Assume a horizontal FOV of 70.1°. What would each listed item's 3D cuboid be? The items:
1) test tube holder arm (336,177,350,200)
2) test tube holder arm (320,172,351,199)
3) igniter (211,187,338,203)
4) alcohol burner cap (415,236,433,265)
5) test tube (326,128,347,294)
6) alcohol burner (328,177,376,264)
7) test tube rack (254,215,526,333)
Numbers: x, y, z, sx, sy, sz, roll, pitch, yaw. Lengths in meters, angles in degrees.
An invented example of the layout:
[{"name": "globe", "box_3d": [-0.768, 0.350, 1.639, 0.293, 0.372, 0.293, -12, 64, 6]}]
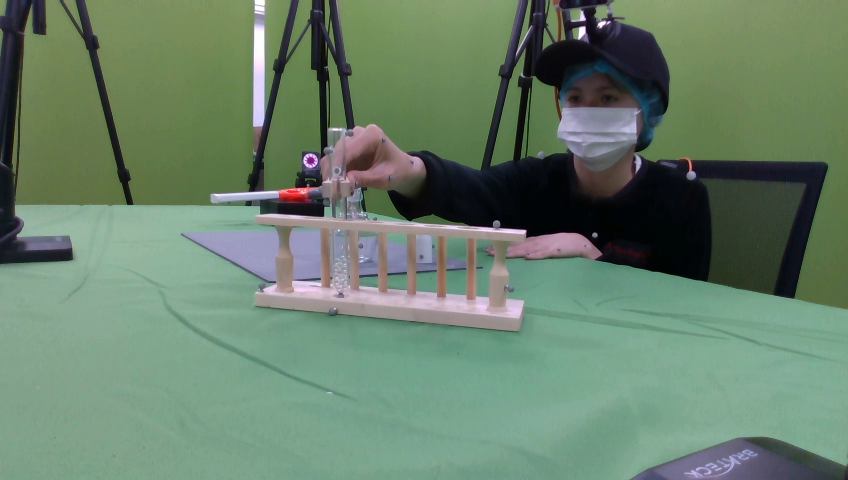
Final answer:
[{"name": "test tube holder arm", "box_3d": [-0.077, -0.049, 0.564, 0.010, 0.015, 0.087, 3, 10, -11]}, {"name": "test tube holder arm", "box_3d": [-0.086, -0.057, 0.607, 0.013, 0.015, 0.178, 5, 9, -3]}, {"name": "igniter", "box_3d": [-0.299, -0.094, 1.266, 0.278, 0.025, 0.057, -6, 12, -34]}, {"name": "alcohol burner cap", "box_3d": [-0.003, 0.011, 0.835, 0.034, 0.048, 0.034, 2, 7, 0]}, {"name": "test tube", "box_3d": [-0.079, -0.025, 0.544, 0.017, 0.150, 0.017, 0, 9, 0]}, {"name": "alcohol burner", "box_3d": [-0.098, -0.028, 0.819, 0.078, 0.119, 0.078, 1, 8, 0]}, {"name": "test tube rack", "box_3d": [-0.030, 0.025, 0.558, 0.242, 0.085, 0.067, 4, 7, 12]}]
